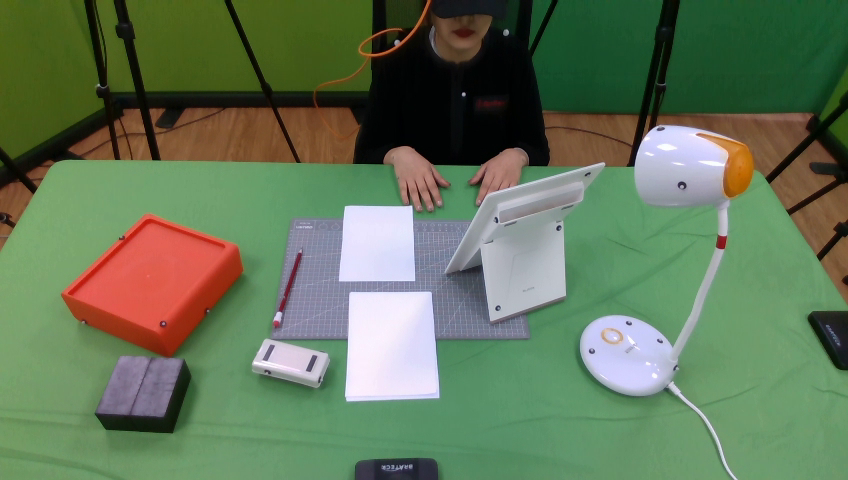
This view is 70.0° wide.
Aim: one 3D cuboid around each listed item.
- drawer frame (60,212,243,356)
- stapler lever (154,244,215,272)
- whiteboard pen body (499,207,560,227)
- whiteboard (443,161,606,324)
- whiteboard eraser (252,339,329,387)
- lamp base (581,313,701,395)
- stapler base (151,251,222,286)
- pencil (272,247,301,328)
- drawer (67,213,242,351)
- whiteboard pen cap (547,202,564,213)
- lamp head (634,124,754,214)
[{"bbox_3d":[-0.462,0.070,1.053,0.201,0.083,0.213,18,48,12],"label":"drawer frame"},{"bbox_3d":[-0.430,0.025,1.088,0.118,0.040,0.027,16,34,13],"label":"stapler lever"},{"bbox_3d":[0.222,-0.051,1.260,0.141,0.017,0.017,-15,49,-16],"label":"whiteboard pen body"},{"bbox_3d":[0.185,0.026,1.028,0.217,0.306,0.143,-15,68,-18],"label":"whiteboard"},{"bbox_3d":[-0.215,0.199,0.976,0.112,0.042,0.055,12,45,7],"label":"whiteboard eraser"},{"bbox_3d":[0.361,0.144,0.973,0.178,0.181,0.160,34,53,23],"label":"lamp base"},{"bbox_3d":[-0.432,0.047,1.103,0.130,0.024,0.041,17,34,12],"label":"stapler base"},{"bbox_3d":[-0.248,0.081,1.104,0.012,0.012,0.193,6,44,1],"label":"pencil"},{"bbox_3d":[-0.461,0.068,1.057,0.194,0.073,0.211,19,48,13],"label":"drawer"},{"bbox_3d":[0.277,-0.066,1.275,0.033,0.018,0.018,-18,50,-15],"label":"whiteboard pen cap"},{"bbox_3d":[0.351,-0.089,0.775,0.112,0.113,0.122,-30,30,-28],"label":"lamp head"}]
